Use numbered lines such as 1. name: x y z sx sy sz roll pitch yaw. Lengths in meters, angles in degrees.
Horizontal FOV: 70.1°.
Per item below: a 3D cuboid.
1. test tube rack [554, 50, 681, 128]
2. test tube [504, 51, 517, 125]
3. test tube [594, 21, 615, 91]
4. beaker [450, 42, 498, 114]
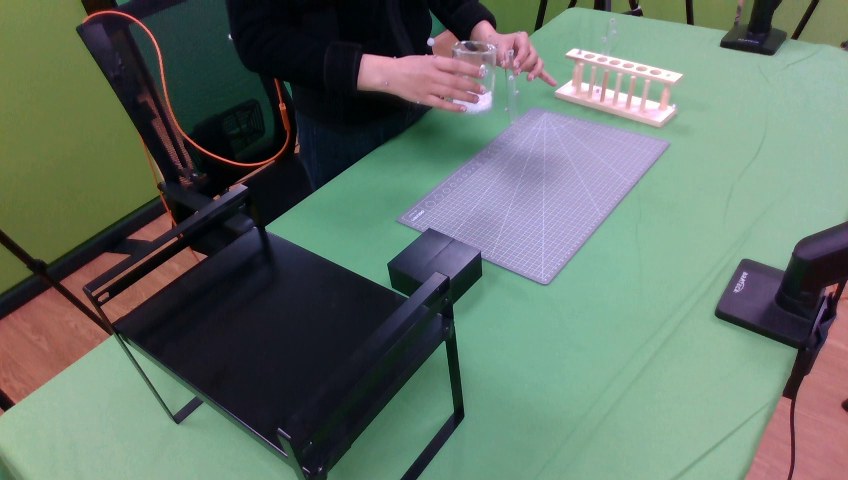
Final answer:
1. test tube rack: 0.388 -0.311 1.234 0.240 0.085 0.067 28 52 34
2. test tube: 0.154 -0.266 1.072 0.017 0.151 0.017 -6 47 7
3. test tube: 0.366 -0.372 1.232 0.017 0.151 0.017 0 43 0
4. beaker: 0.081 -0.262 0.979 0.084 0.100 0.073 -20 38 -32
